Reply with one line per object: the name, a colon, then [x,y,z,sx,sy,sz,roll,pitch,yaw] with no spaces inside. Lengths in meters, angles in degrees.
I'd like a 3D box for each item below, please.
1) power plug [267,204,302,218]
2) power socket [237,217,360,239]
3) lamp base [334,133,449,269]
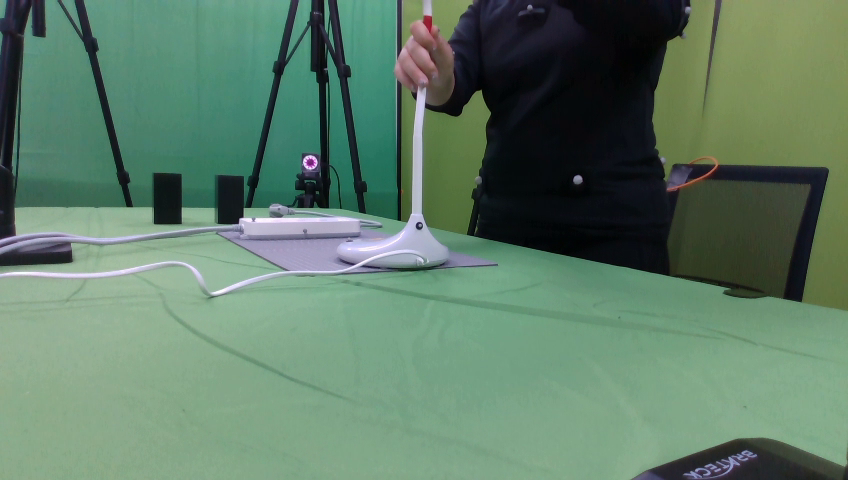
power plug: [-0.327,-0.060,1.405,0.073,0.035,0.052,22,-14,-27]
power socket: [-0.220,-0.023,1.080,0.228,0.032,0.072,-2,8,-33]
lamp base: [-0.034,-0.057,0.831,0.161,0.180,0.178,-3,12,-36]
